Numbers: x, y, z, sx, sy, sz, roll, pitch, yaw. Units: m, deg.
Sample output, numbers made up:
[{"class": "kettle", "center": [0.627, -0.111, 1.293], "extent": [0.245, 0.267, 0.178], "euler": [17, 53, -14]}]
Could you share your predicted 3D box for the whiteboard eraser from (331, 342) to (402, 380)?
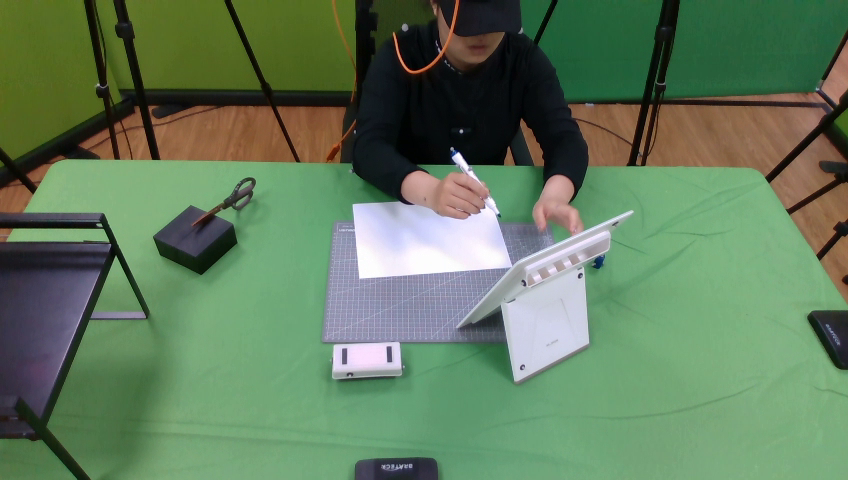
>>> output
[{"class": "whiteboard eraser", "center": [-0.094, 0.198, 0.986], "extent": [0.113, 0.042, 0.055], "euler": [-2, 44, -6]}]

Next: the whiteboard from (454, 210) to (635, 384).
[{"class": "whiteboard", "center": [0.210, 0.110, 0.955], "extent": [0.217, 0.306, 0.143], "euler": [-21, 72, -23]}]

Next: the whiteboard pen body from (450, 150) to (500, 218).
[{"class": "whiteboard pen body", "center": [0.090, -0.095, 1.044], "extent": [0.017, 0.017, 0.141], "euler": [-39, 96, -33]}]

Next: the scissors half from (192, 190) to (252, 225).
[{"class": "scissors half", "center": [-0.394, -0.060, 1.187], "extent": [0.013, 0.040, 0.175], "euler": [25, 29, 12]}]

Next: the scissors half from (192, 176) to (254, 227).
[{"class": "scissors half", "center": [-0.388, -0.075, 1.174], "extent": [0.013, 0.040, 0.174], "euler": [29, 47, 8]}]

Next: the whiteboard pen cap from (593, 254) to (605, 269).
[{"class": "whiteboard pen cap", "center": [0.341, 0.041, 1.179], "extent": [0.018, 0.033, 0.018], "euler": [1, 45, -1]}]
